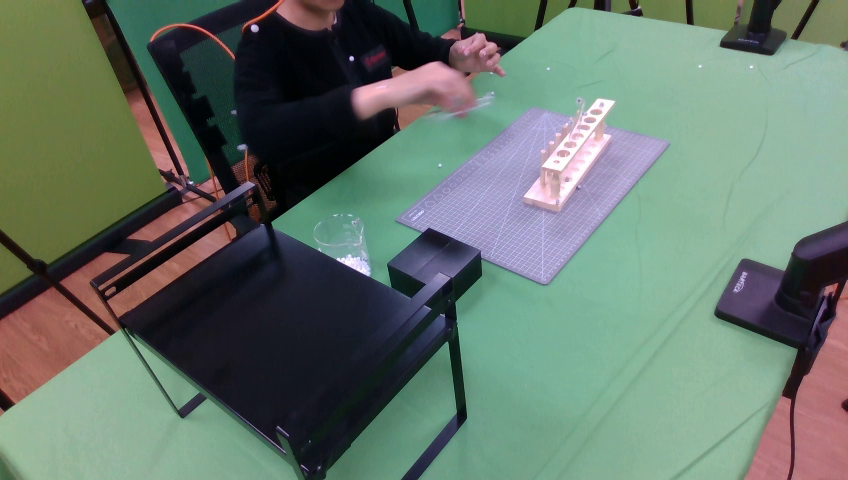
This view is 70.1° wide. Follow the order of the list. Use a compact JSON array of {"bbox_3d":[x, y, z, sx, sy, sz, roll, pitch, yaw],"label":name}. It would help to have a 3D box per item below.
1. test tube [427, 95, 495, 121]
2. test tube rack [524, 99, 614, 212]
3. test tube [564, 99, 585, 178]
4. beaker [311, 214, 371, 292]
[{"bbox_3d":[0.059,-0.208,0.950,0.151,0.017,0.017,-24,41,-39],"label":"test tube"},{"bbox_3d":[0.259,-0.158,1.069,0.066,0.085,0.243,19,47,28],"label":"test tube rack"},{"bbox_3d":[0.248,-0.164,1.001,0.017,0.151,0.017,-1,42,1],"label":"test tube"},{"bbox_3d":[-0.118,0.022,0.908,0.083,0.101,0.074,26,51,32],"label":"beaker"}]
